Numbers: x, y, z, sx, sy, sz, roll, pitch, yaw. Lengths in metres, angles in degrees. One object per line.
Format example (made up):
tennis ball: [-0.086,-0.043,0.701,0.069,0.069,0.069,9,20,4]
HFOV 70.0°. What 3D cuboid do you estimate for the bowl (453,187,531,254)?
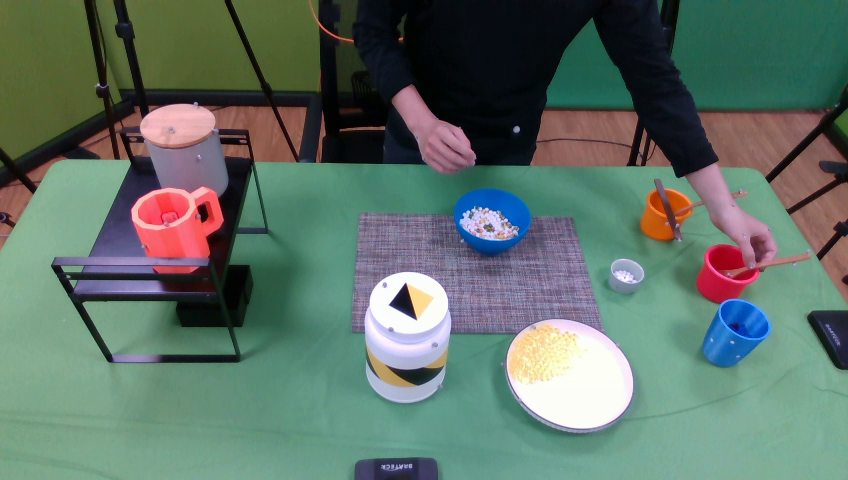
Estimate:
bowl: [0.128,-0.026,1.186,0.151,0.077,0.150,2,46,-2]

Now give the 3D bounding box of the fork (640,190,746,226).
fork: [0.533,-0.064,1.212,0.207,0.019,0.028,-23,30,38]

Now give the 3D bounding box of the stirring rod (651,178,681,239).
stirring rod: [0.480,-0.065,1.203,0.014,0.006,0.175,3,46,-3]

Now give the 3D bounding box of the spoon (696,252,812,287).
spoon: [0.600,0.051,1.110,0.193,0.022,0.041,-22,35,38]

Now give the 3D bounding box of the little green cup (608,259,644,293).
little green cup: [0.379,0.070,1.147,0.061,0.039,0.061,3,45,-2]

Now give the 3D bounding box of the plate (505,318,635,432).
plate: [0.235,0.221,0.991,0.209,0.038,0.208,2,46,-2]

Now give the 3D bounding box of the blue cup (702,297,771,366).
blue cup: [0.519,0.162,1.025,0.093,0.101,0.092,3,45,-3]

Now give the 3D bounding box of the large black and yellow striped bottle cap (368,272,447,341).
large black and yellow striped bottle cap: [-0.023,0.093,0.875,0.115,0.019,0.114,3,46,-3]

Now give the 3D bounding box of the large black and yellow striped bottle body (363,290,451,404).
large black and yellow striped bottle body: [-0.027,0.153,0.935,0.131,0.185,0.130,2,46,-2]

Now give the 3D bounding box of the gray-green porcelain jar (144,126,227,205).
gray-green porcelain jar: [-0.375,-0.126,0.967,0.106,0.127,0.105,2,46,-2]

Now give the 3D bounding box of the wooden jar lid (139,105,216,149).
wooden jar lid: [-0.372,-0.169,0.920,0.108,0.021,0.107,4,44,-4]

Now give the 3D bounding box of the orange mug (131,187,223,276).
orange mug: [-0.354,-0.022,0.888,0.083,0.101,0.126,31,55,24]
